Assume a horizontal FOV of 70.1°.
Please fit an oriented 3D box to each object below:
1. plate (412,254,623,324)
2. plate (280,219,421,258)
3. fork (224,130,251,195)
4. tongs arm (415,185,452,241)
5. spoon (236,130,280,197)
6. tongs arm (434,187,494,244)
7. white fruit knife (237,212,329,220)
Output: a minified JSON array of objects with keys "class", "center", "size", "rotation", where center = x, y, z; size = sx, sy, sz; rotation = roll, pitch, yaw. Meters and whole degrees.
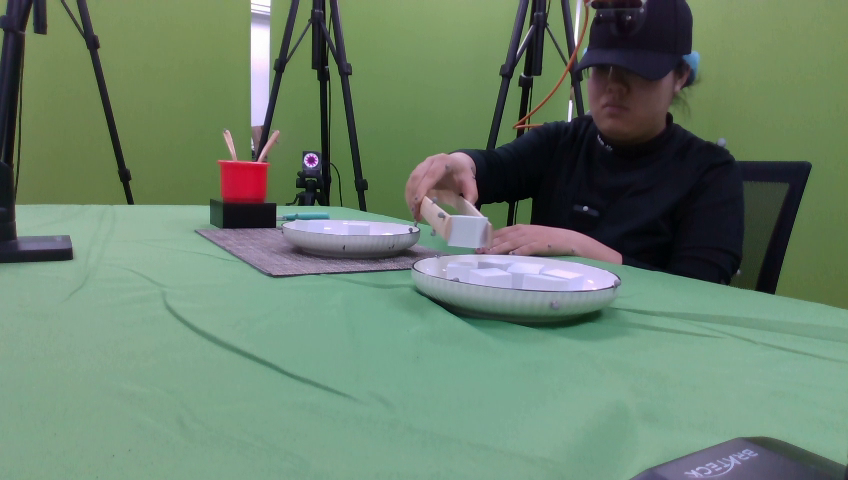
[{"class":"plate","center":[0.090,0.047,0.609],"size":[0.209,0.038,0.209],"rotation":[2,7,0]},{"class":"plate","center":[-0.108,-0.002,0.902],"size":[0.208,0.039,0.207],"rotation":[3,7,0]},{"class":"fork","center":[-0.372,-0.155,1.193],"size":[0.028,0.018,0.206],"rotation":[-17,54,-13]},{"class":"tongs arm","center":[0.019,-0.042,0.778],"size":[0.051,0.026,0.384],"rotation":[3,9,-9]},{"class":"spoon","center":[-0.321,-0.153,1.192],"size":[0.041,0.193,0.022],"rotation":[1,-37,19]},{"class":"tongs arm","center":[0.047,-0.040,0.781],"size":[0.028,0.028,0.387],"rotation":[0,10,-5]},{"class":"white fruit knife","center":[-0.304,-0.050,1.328],"size":[0.208,0.016,0.027],"rotation":[-3,-19,-29]}]
